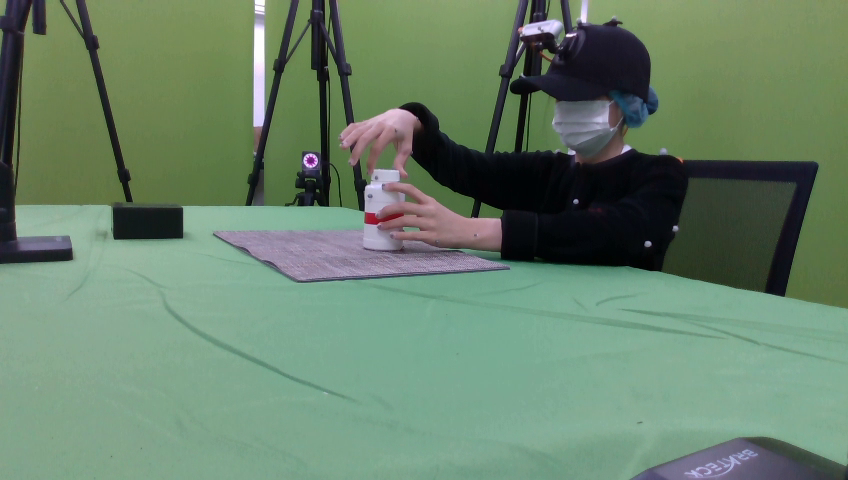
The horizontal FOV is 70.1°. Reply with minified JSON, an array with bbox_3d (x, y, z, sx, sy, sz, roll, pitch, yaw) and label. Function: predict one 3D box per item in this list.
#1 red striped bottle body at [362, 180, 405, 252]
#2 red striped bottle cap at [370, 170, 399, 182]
[{"bbox_3d":[-0.062,-0.044,0.933,0.063,0.119,0.063,3,7,0],"label":"red striped bottle body"},{"bbox_3d":[-0.060,-0.098,0.925,0.044,0.017,0.044,4,5,0],"label":"red striped bottle cap"}]
